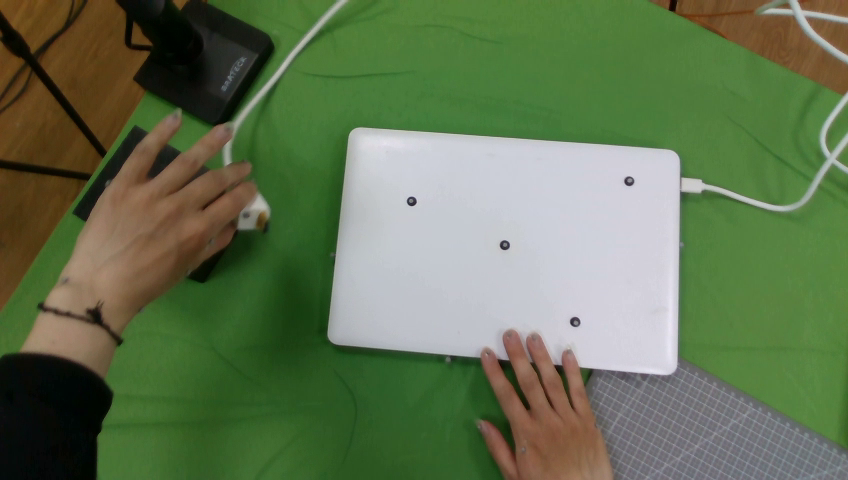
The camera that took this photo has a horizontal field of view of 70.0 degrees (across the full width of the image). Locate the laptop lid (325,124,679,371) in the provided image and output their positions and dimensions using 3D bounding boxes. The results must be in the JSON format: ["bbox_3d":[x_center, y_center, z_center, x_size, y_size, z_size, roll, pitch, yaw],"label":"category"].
[{"bbox_3d":[0.082,0.003,0.625,0.356,0.013,0.241,6,82,3],"label":"laptop lid"}]

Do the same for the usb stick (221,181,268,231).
[{"bbox_3d":[-0.152,-0.028,0.520,0.058,0.027,0.021,45,123,40],"label":"usb stick"}]

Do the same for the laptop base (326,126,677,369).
[{"bbox_3d":[0.083,0.004,0.640,0.354,0.023,0.234,4,82,3],"label":"laptop base"}]
